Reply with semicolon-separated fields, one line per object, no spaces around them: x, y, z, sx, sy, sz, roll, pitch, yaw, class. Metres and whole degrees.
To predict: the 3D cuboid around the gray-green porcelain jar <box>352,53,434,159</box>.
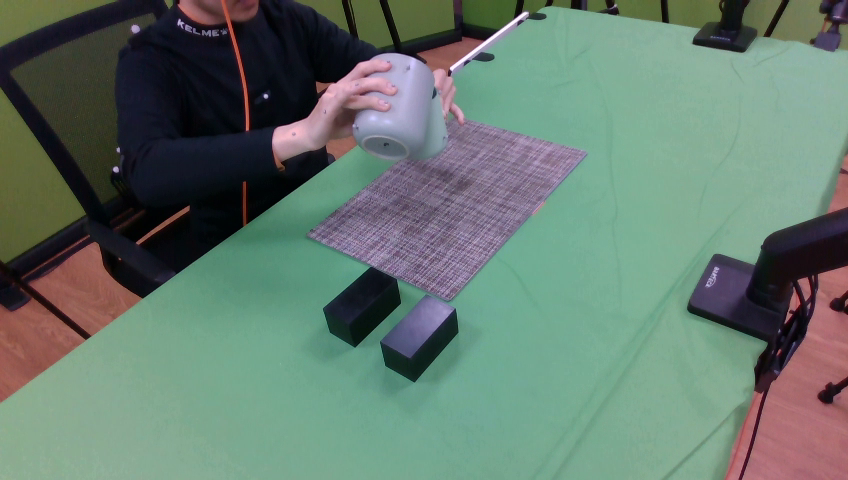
-0.046;-0.191;0.888;0.105;0.106;0.126;5;72;14;gray-green porcelain jar

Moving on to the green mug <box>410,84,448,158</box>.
-0.006;-0.211;1.022;0.092;0.105;0.125;2;43;13;green mug
